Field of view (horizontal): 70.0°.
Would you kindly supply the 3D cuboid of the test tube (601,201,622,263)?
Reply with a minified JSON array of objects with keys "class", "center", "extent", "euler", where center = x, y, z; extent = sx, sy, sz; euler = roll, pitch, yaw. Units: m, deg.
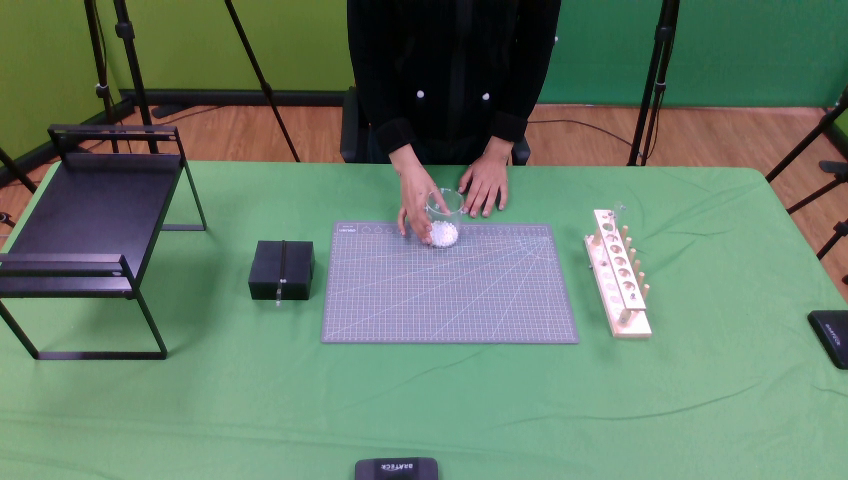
[{"class":"test tube","center":[0.346,-0.012,1.123],"extent":[0.017,0.151,0.017],"euler":[-2,44,2]}]

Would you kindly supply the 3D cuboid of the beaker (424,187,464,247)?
[{"class":"beaker","center":[0.036,-0.043,1.185],"extent":[0.074,0.101,0.083],"euler":[-2,47,-7]}]

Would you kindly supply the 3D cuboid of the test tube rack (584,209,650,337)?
[{"class":"test tube rack","center":[0.365,0.056,1.129],"extent":[0.067,0.085,0.240],"euler":[1,46,-4]}]

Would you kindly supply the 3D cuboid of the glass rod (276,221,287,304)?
[{"class":"glass rod","center":[-0.255,0.036,1.086],"extent":[0.008,0.008,0.198],"euler":[-2,46,-6]}]
